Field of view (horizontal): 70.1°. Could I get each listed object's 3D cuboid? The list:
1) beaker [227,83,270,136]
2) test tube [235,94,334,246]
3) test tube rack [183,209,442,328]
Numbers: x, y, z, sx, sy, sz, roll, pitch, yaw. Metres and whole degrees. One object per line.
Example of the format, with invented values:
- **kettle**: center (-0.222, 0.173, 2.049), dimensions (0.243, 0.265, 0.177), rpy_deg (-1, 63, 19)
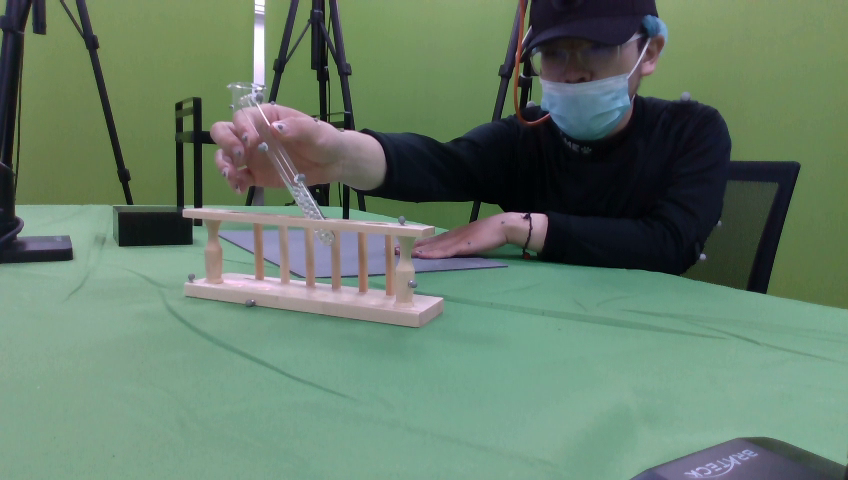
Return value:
- **beaker**: center (-0.354, -0.262, 1.224), dimensions (0.084, 0.100, 0.073), rpy_deg (-2, 8, -28)
- **test tube**: center (-0.121, -0.060, 0.535), dimensions (0.017, 0.150, 0.017), rpy_deg (-29, 8, 5)
- **test tube rack**: center (-0.106, 0.019, 0.569), dimensions (0.241, 0.085, 0.067), rpy_deg (5, 8, 20)
